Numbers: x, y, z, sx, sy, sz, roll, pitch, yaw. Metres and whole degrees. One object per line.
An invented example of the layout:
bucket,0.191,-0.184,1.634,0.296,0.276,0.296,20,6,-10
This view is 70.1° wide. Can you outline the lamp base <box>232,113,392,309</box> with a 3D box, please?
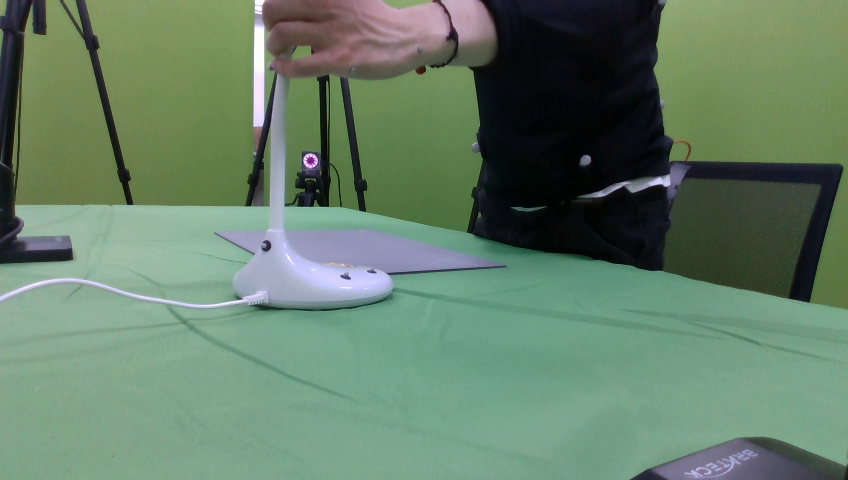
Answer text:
lamp base,-0.113,-0.031,0.594,0.160,0.180,0.179,4,10,18
